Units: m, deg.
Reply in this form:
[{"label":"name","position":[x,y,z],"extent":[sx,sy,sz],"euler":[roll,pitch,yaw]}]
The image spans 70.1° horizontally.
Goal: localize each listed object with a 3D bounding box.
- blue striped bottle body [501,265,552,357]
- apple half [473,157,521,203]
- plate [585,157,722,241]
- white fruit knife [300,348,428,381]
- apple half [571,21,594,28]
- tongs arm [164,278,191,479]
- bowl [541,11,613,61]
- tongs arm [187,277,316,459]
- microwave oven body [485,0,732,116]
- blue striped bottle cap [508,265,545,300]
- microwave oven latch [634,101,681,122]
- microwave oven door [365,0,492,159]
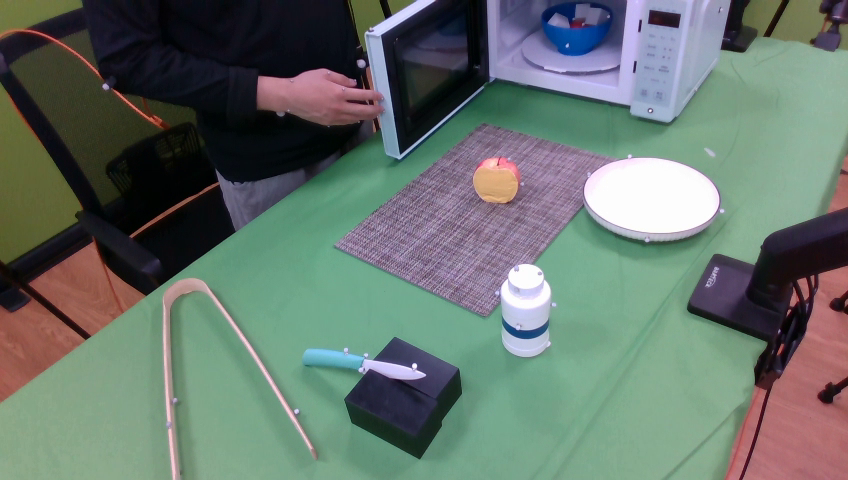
[{"label":"blue striped bottle body","position":[0.130,0.089,0.769],"extent":[0.063,0.121,0.063],"euler":[-4,41,4]},{"label":"apple half","position":[0.127,-0.106,1.030],"extent":[0.080,0.075,0.053],"euler":[4,36,19]},{"label":"plate","position":[0.367,-0.063,0.979],"extent":[0.207,0.039,0.206],"euler":[-4,40,4]},{"label":"white fruit knife","position":[-0.079,0.154,0.748],"extent":[0.206,0.027,0.016],"euler":[1,20,34]},{"label":"apple half","position":[0.335,-0.449,1.300],"extent":[0.081,0.033,0.081],"euler":[-16,32,11]},{"label":"tongs arm","position":[-0.313,0.182,0.789],"extent":[0.051,0.026,0.381],"euler":[-19,41,-14]},{"label":"bowl","position":[0.332,-0.437,1.306],"extent":[0.151,0.077,0.151],"euler":[-8,30,5]},{"label":"tongs arm","position":[-0.240,0.154,0.815],"extent":[0.028,0.028,0.384],"euler":[-31,46,-21]},{"label":"microwave oven body","position":[0.377,-0.462,1.267],"extent":[0.438,0.261,0.327],"euler":[21,48,30]},{"label":"blue striped bottle cap","position":[0.125,0.051,0.735],"extent":[0.044,0.021,0.044],"euler":[-5,36,4]},{"label":"microwave oven latch","position":[0.446,-0.250,1.158],"extent":[0.078,0.029,0.030],"euler":[25,51,33]},{"label":"microwave oven door","position":[0.024,-0.351,1.182],"extent":[0.039,0.245,0.356],"euler":[20,48,29]}]
